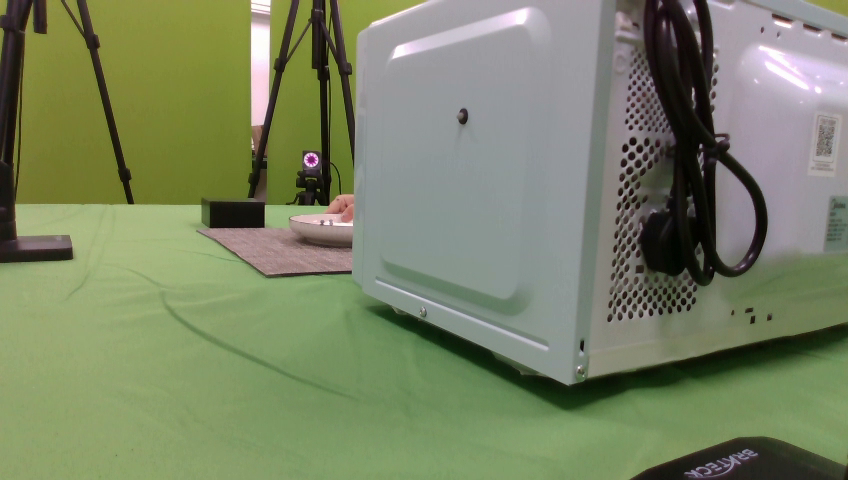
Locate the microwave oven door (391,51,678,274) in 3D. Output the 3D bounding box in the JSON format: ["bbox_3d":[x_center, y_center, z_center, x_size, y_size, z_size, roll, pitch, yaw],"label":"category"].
[{"bbox_3d":[0.141,-0.084,0.721,0.357,0.243,0.039,0,8,-19],"label":"microwave oven door"}]

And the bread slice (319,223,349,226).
[{"bbox_3d":[-0.122,-0.015,1.004,0.131,0.019,0.105,4,7,12],"label":"bread slice"}]

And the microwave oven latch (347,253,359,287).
[{"bbox_3d":[-0.034,0.028,0.581,0.079,0.029,0.030,-1,7,-31],"label":"microwave oven latch"}]

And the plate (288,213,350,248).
[{"bbox_3d":[-0.121,-0.017,1.008,0.209,0.038,0.209,3,8,0],"label":"plate"}]

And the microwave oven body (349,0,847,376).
[{"bbox_3d":[0.199,-0.053,0.540,0.444,0.260,0.324,-1,7,-32],"label":"microwave oven body"}]
